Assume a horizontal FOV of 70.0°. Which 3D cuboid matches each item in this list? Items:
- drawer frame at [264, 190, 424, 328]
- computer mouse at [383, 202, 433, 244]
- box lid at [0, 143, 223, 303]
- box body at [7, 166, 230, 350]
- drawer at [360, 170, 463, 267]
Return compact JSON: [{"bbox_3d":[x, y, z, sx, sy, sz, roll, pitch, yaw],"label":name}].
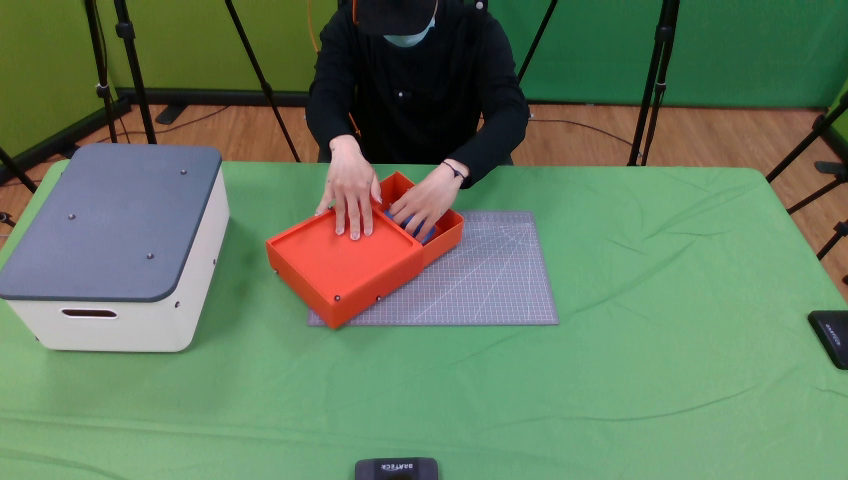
[{"bbox_3d":[-0.144,0.029,1.114,0.213,0.083,0.200,-34,57,-30],"label":"drawer frame"},{"bbox_3d":[-0.040,-0.032,1.202,0.063,0.041,0.116,-41,61,-21],"label":"computer mouse"},{"bbox_3d":[-0.499,-0.045,1.002,0.263,0.015,0.369,2,46,-3],"label":"box lid"},{"bbox_3d":[-0.502,0.008,1.054,0.254,0.161,0.361,1,46,-3],"label":"box body"},{"bbox_3d":[-0.066,-0.022,1.170,0.211,0.073,0.193,-35,58,-30],"label":"drawer"}]
